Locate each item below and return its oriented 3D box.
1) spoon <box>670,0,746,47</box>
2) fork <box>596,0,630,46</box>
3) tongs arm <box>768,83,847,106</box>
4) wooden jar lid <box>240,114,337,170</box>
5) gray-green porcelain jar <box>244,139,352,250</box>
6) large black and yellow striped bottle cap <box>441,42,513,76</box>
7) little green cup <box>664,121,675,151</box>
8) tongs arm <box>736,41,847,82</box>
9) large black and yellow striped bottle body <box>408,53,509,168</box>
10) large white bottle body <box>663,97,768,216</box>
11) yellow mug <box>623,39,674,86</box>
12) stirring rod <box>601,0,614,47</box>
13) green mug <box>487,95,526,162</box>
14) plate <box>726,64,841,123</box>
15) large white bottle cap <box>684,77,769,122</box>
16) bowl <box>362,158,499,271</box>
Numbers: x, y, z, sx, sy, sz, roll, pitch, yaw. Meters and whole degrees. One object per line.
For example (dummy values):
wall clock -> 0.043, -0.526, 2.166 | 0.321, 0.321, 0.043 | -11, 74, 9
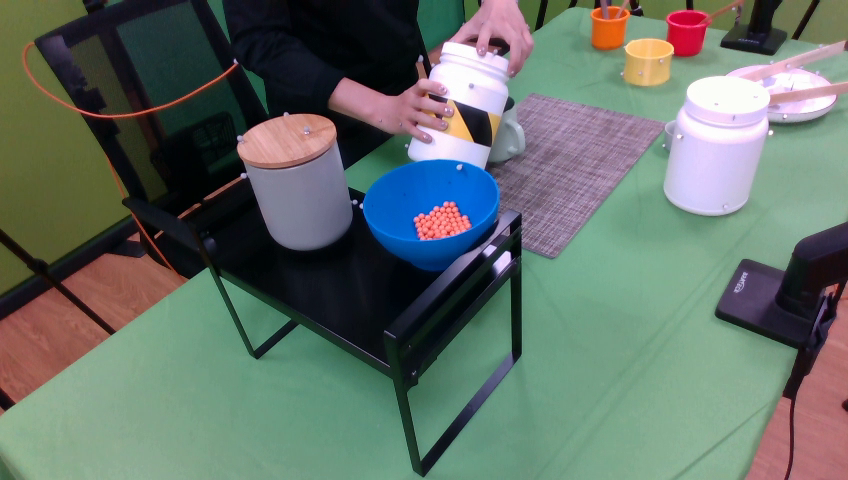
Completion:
spoon -> 0.629, -0.485, 1.350 | 0.022, 0.193, 0.042 | 47, 54, -7
fork -> 0.481, -0.556, 1.452 | 0.028, 0.019, 0.207 | 40, 103, 38
tongs arm -> 0.739, -0.281, 1.134 | 0.388, 0.028, 0.028 | -9, 47, -5
wooden jar lid -> -0.149, -0.106, 0.673 | 0.108, 0.021, 0.108 | -6, 38, 5
gray-green porcelain jar -> -0.144, -0.060, 0.714 | 0.106, 0.127, 0.105 | -4, 41, 4
large black and yellow striped bottle cap -> 0.084, -0.285, 0.956 | 0.115, 0.019, 0.115 | 18, 11, -3
little green cup -> 0.472, -0.188, 1.113 | 0.061, 0.039, 0.061 | -5, 40, 5
tongs arm -> 0.712, -0.332, 1.194 | 0.386, 0.026, 0.050 | -19, 45, -16
large black and yellow striped bottle body -> 0.059, -0.205, 0.975 | 0.131, 0.184, 0.130 | 17, 12, -3
large white bottle body -> 0.458, -0.146, 0.952 | 0.130, 0.185, 0.130 | -4, 40, 4
yellow mug -> 0.485, -0.398, 1.334 | 0.100, 0.064, 0.130 | -18, 41, -10
stirring rod -> 0.439, -0.552, 1.463 | 0.014, 0.006, 0.175 | -7, 83, 3
green mug -> 0.144, -0.201, 1.122 | 0.093, 0.105, 0.124 | -29, 45, -23
plate -> 0.695, -0.282, 1.189 | 0.207, 0.039, 0.206 | -4, 40, 4
large white bottle cap -> 0.448, -0.210, 0.898 | 0.115, 0.018, 0.114 | -4, 40, 4
bowl -> 0.011, -0.019, 0.679 | 0.151, 0.077, 0.150 | -5, 41, 5
